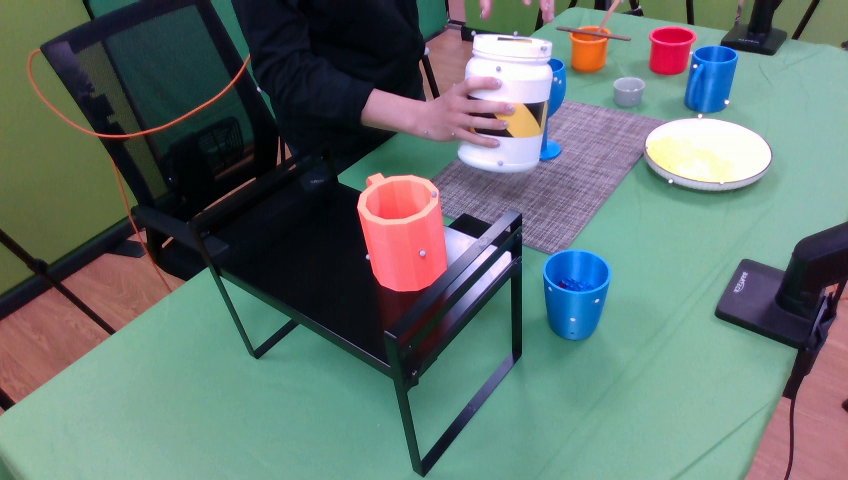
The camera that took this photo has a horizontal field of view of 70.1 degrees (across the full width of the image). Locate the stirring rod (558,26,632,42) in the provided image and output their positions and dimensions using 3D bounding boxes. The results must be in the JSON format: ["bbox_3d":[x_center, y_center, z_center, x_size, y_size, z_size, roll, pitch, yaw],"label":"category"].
[{"bbox_3d":[0.381,-0.462,1.356,0.175,0.006,0.014,22,48,30],"label":"stirring rod"}]

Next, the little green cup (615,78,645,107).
[{"bbox_3d":[0.426,-0.306,1.257,0.061,0.039,0.061,-4,40,4],"label":"little green cup"}]

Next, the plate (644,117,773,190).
[{"bbox_3d":[0.495,-0.149,1.063,0.209,0.038,0.208,-5,40,4],"label":"plate"}]

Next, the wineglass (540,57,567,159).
[{"bbox_3d":[0.221,-0.237,1.097,0.074,0.173,0.073,-4,41,4],"label":"wineglass"}]

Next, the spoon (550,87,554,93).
[{"bbox_3d":[0.227,-0.284,1.269,0.041,0.022,0.194,1,36,45],"label":"spoon"}]

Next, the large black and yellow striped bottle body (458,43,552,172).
[{"bbox_3d":[0.124,-0.209,0.925,0.131,0.184,0.130,4,24,-1],"label":"large black and yellow striped bottle body"}]

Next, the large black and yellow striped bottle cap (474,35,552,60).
[{"bbox_3d":[0.131,-0.285,0.892,0.115,0.019,0.114,5,26,-2],"label":"large black and yellow striped bottle cap"}]

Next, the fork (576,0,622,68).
[{"bbox_3d":[0.409,-0.484,1.381,0.028,0.019,0.207,37,101,46],"label":"fork"}]

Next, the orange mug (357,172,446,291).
[{"bbox_3d":[-0.030,-0.019,0.668,0.084,0.101,0.125,-23,47,-16],"label":"orange mug"}]

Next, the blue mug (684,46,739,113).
[{"bbox_3d":[0.556,-0.310,1.190,0.117,0.106,0.081,-32,46,-25],"label":"blue mug"}]

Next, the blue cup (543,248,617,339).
[{"bbox_3d":[0.199,0.076,0.797,0.092,0.100,0.092,-4,39,4],"label":"blue cup"}]
